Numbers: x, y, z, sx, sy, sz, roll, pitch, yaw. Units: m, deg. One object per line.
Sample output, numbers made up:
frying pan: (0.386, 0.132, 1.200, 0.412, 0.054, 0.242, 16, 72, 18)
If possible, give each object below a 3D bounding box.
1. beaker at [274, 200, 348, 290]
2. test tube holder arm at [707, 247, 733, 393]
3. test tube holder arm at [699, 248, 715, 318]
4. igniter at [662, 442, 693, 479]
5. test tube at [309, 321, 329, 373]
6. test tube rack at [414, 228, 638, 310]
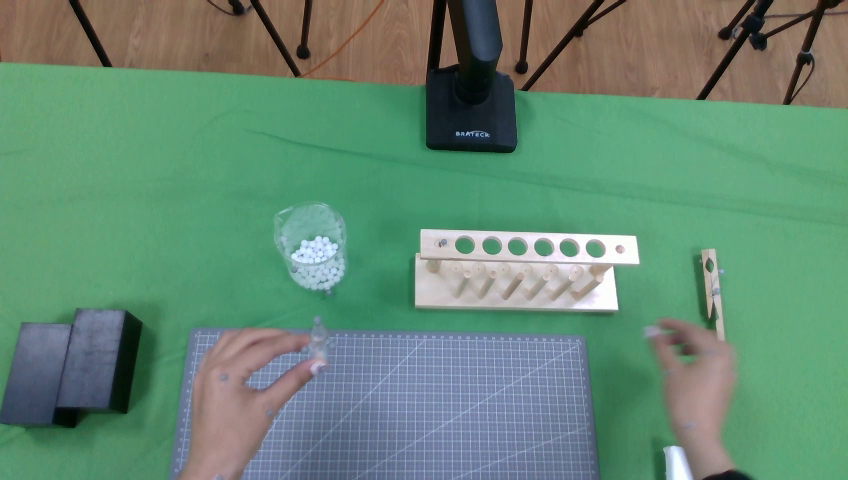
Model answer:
beaker: (-0.124, 0.008, 0.675, 0.084, 0.101, 0.073, 28, 68, 7)
test tube holder arm: (0.355, 0.094, 0.730, 0.013, 0.015, 0.177, -11, 65, 28)
test tube holder arm: (0.351, 0.053, 0.749, 0.010, 0.015, 0.087, -10, 66, 28)
igniter: (0.264, 0.351, 0.617, 0.057, 0.025, 0.274, 12, 68, -11)
test tube: (-0.092, 0.097, 0.533, 0.017, 0.151, 0.017, 3, 67, -8)
test tube rack: (0.112, 0.036, 0.695, 0.243, 0.085, 0.066, 2, 68, -5)
